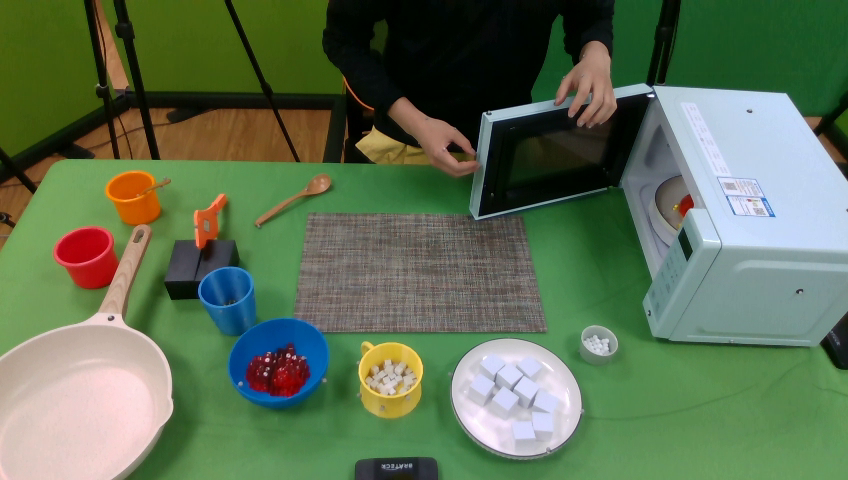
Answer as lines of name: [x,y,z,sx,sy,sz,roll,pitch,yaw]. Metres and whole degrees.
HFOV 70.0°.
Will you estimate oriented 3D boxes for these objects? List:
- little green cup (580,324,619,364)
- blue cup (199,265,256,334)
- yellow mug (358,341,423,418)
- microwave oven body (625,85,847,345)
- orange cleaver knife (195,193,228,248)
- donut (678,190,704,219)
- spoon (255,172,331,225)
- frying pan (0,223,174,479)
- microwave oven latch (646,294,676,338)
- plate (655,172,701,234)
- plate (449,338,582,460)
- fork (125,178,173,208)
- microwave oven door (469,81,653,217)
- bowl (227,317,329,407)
little green cup: [0.296,0.179,1.031,0.061,0.039,0.061,2,45,-2]
blue cup: [-0.321,0.107,1.014,0.093,0.101,0.092,2,48,-2]
yellow mug: [-0.063,0.210,0.961,0.100,0.064,0.130,-29,54,-28]
microwave oven body: [0.568,-0.054,1.116,0.326,0.261,0.439,2,46,-1]
orange cleaver knife: [-0.406,-0.041,1.163,0.012,0.077,0.210,0,18,-3]
donut: [0.543,-0.060,1.173,0.099,0.048,0.098,1,44,-1]
spoon: [-0.272,-0.087,1.257,0.041,0.022,0.193,43,57,17]
frying pan: [-0.504,0.169,0.941,0.307,0.103,0.485,5,54,-1]
microwave oven latch: [0.412,0.133,1.060,0.030,0.029,0.078,4,46,1]
plate: [0.556,-0.052,1.187,0.209,0.038,0.208,2,47,-2]
plate: [0.141,0.251,0.955,0.208,0.039,0.206,2,47,-2]
fork: [-0.525,-0.090,1.154,0.207,0.019,0.028,-17,27,45]
microwave oven door: [0.269,-0.180,1.207,0.356,0.245,0.039,-14,49,-16]
bowl: [-0.222,0.203,0.947,0.151,0.077,0.150,2,46,-2]
